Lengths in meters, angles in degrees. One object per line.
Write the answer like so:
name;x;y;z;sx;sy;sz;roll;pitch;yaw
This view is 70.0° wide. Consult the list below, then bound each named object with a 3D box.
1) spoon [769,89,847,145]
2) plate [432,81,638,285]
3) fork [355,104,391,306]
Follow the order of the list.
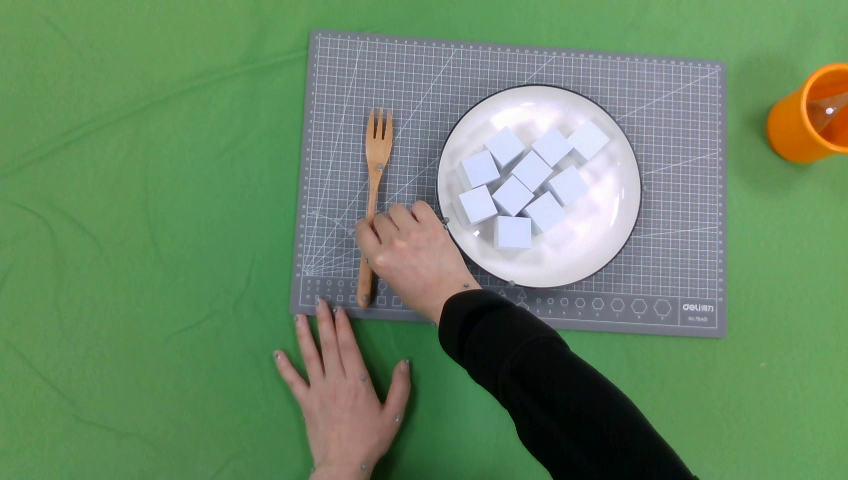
spoon;0.438;-0.155;0.594;0.022;0.194;0.041;-17;77;-48
plate;0.110;-0.056;0.619;0.208;0.039;0.207;0;84;-3
fork;-0.054;-0.037;0.616;0.028;0.018;0.206;6;82;-5
